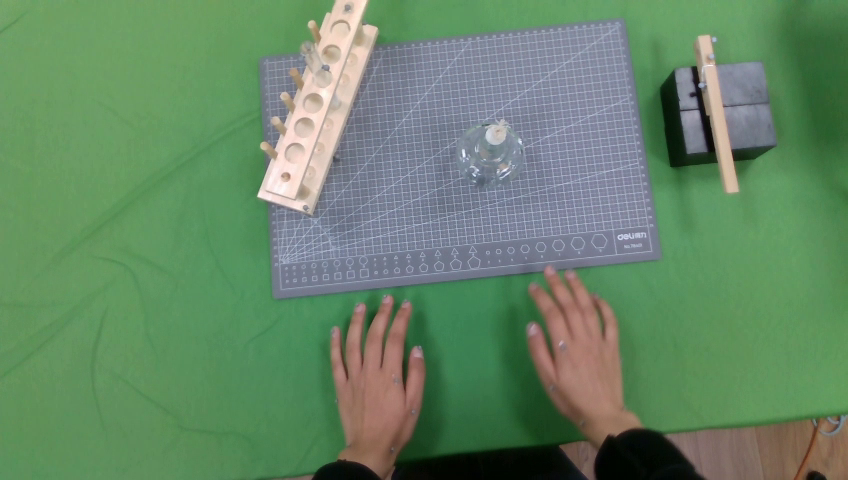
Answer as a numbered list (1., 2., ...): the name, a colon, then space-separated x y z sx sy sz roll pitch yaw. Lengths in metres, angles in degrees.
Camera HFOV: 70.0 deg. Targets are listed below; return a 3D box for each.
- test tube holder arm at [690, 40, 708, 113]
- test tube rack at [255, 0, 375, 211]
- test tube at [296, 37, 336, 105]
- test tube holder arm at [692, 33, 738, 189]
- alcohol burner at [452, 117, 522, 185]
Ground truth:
1. test tube holder arm: 0.312 -0.184 0.672 0.015 0.010 0.087 -9 78 11
2. test tube rack: -0.130 -0.163 0.692 0.066 0.085 0.241 18 82 5
3. test tube: -0.111 -0.175 0.643 0.017 0.150 0.017 0 83 1
4. test tube holder arm: 0.315 -0.141 0.658 0.015 0.013 0.177 -9 78 11
5. alcohol burner: 0.070 -0.103 0.663 0.078 0.119 0.077 0 80 1
